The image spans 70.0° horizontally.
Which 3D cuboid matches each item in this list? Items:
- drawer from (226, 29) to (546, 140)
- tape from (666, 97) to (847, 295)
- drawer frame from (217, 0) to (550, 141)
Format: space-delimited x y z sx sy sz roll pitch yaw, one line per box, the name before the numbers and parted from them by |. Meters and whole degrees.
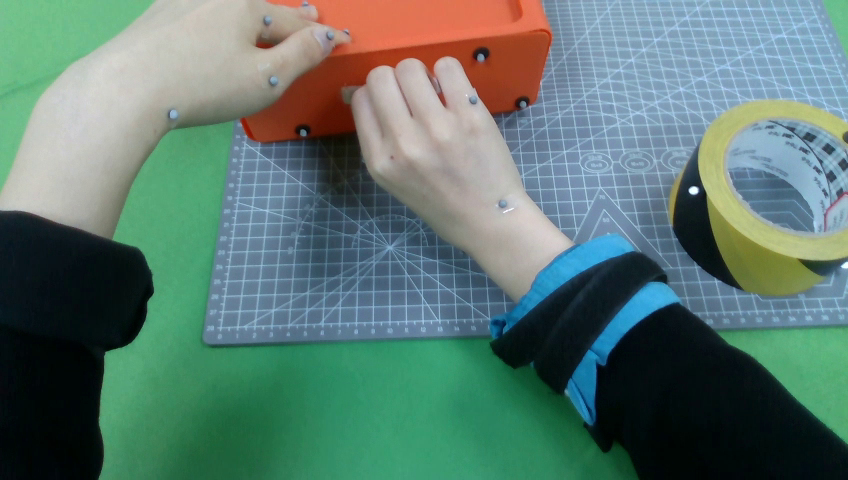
drawer | -0.035 -0.183 0.432 0.194 0.074 0.210 -9 63 -3
tape | 0.212 -0.026 0.369 0.117 0.053 0.116 0 64 1
drawer frame | -0.037 -0.186 0.432 0.202 0.083 0.211 -9 63 -4
